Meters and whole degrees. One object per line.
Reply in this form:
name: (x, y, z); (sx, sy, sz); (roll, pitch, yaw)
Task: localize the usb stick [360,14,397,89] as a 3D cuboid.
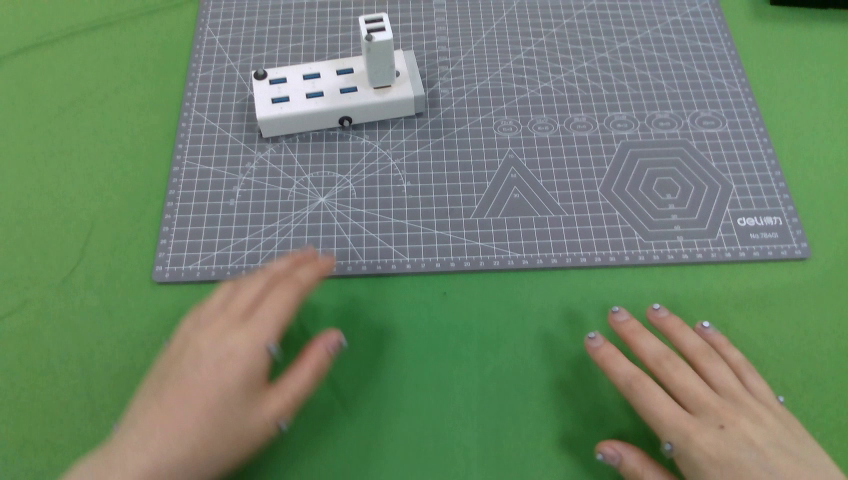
usb stick: (-0.032, -0.130, 0.437); (0.021, 0.059, 0.027); (-12, 60, -6)

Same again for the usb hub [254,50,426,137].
usb hub: (-0.064, -0.113, 0.463); (0.125, 0.025, 0.049); (-10, 63, -6)
